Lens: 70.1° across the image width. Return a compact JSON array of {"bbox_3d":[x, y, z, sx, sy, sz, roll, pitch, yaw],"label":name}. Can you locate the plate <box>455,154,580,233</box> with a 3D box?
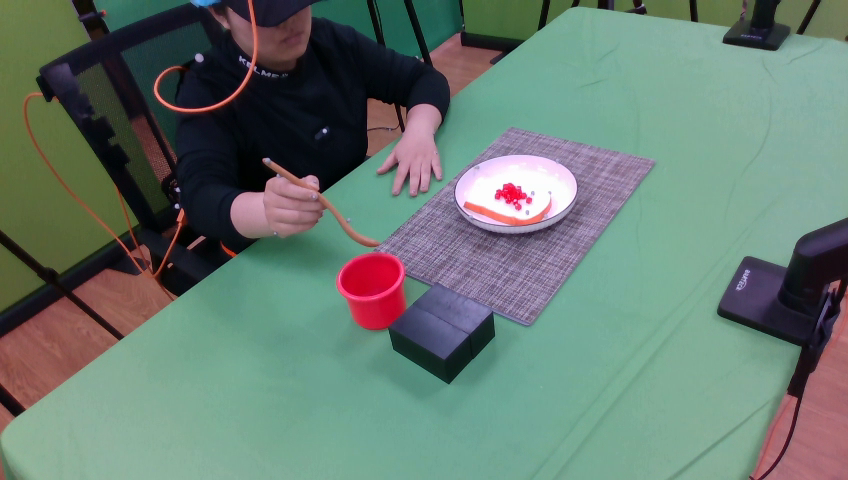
[{"bbox_3d":[0.158,-0.076,1.028,0.209,0.038,0.208,-5,40,5],"label":"plate"}]

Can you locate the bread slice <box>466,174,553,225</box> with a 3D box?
[{"bbox_3d":[0.152,-0.068,1.022,0.130,0.019,0.105,23,50,33],"label":"bread slice"}]

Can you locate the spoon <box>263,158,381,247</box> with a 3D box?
[{"bbox_3d":[-0.131,-0.047,0.796,0.021,0.195,0.041,-49,27,-3],"label":"spoon"}]
